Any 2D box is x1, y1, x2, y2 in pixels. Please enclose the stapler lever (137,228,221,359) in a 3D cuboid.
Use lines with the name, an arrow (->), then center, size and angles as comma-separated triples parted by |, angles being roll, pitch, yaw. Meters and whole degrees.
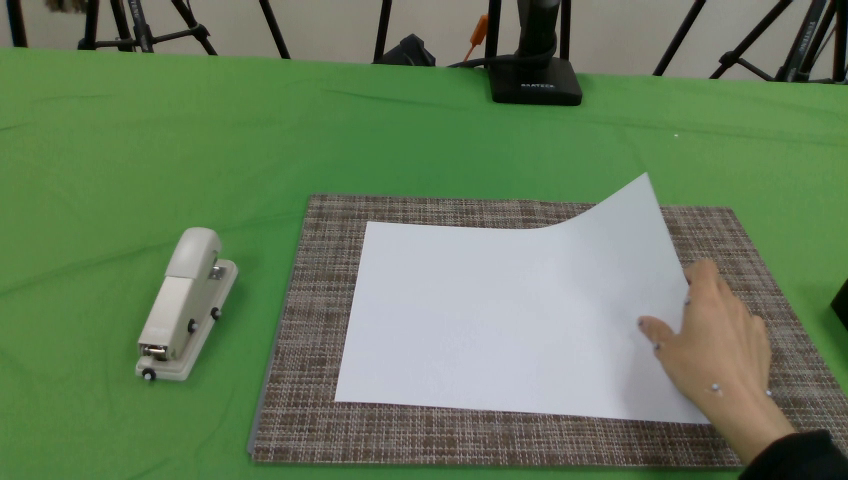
stapler lever -> -0.193, 0.038, 0.483 | 0.027, 0.040, 0.117 | 5, 43, 4

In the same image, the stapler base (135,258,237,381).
stapler base -> -0.195, 0.056, 0.501 | 0.041, 0.024, 0.129 | 5, 43, 4
